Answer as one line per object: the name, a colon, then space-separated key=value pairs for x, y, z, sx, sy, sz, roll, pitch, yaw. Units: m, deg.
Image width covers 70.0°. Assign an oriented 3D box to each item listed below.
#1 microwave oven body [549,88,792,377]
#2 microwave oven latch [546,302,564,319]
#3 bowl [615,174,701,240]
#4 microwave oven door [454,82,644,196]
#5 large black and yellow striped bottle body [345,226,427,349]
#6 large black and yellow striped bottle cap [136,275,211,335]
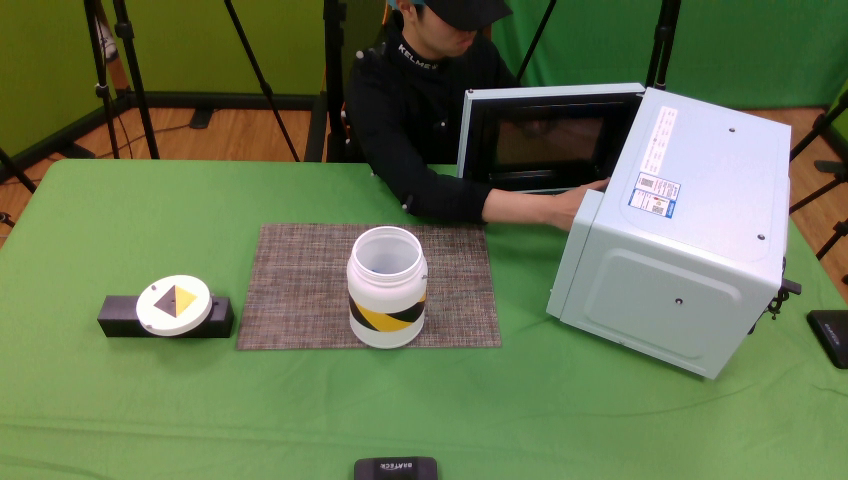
microwave oven body: x=0.456 y=-0.028 z=1.088 sx=0.325 sy=0.261 sz=0.440 roll=20 pitch=47 yaw=16
microwave oven latch: x=0.242 y=0.102 z=1.081 sx=0.030 sy=0.029 sz=0.079 roll=21 pitch=48 yaw=17
bowl: x=0.435 y=-0.053 z=1.142 sx=0.151 sy=0.077 sz=0.150 roll=-5 pitch=36 yaw=4
microwave oven door: x=0.247 y=-0.202 z=1.233 sx=0.356 sy=0.245 sz=0.039 roll=-5 pitch=47 yaw=-8
large black and yellow striped bottle body: x=-0.062 y=0.078 z=0.998 sx=0.131 sy=0.185 sz=0.130 roll=2 pitch=46 yaw=-2
large black and yellow striped bottle cap: x=-0.412 y=0.105 z=0.999 sx=0.115 sy=0.019 sz=0.114 roll=3 pitch=46 yaw=-3
